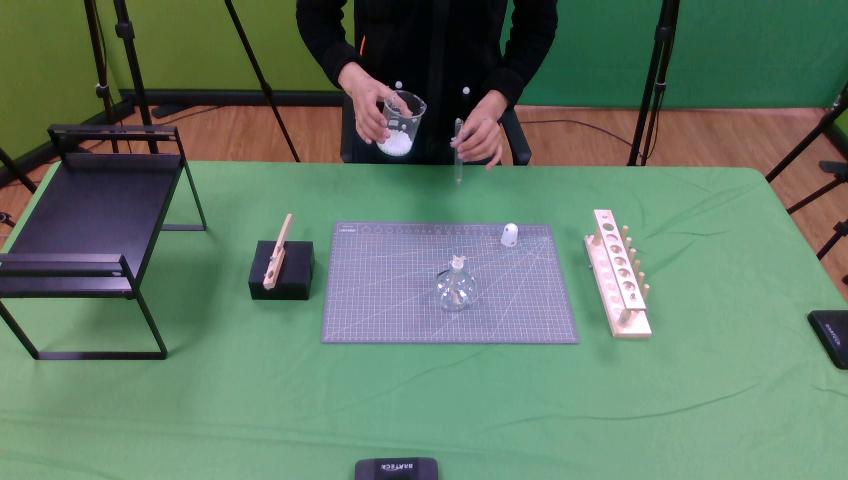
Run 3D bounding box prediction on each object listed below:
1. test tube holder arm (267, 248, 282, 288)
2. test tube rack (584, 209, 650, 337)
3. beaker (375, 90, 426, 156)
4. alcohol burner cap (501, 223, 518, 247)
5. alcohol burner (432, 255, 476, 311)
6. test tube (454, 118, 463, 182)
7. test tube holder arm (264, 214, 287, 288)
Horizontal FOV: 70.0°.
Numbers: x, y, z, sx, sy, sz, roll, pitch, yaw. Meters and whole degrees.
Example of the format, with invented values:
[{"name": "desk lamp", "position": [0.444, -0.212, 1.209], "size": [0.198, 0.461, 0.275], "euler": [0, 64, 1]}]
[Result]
[{"name": "test tube holder arm", "position": [-0.262, 0.048, 1.068], "size": [0.010, 0.015, 0.087], "euler": [3, 45, -2]}, {"name": "test tube rack", "position": [0.365, 0.056, 1.129], "size": [0.067, 0.085, 0.240], "euler": [1, 46, -4]}, {"name": "beaker", "position": [-0.045, -0.211, 1.106], "size": [0.084, 0.100, 0.073], "euler": [-10, 55, -27]}, {"name": "alcohol burner cap", "position": [0.172, -0.013, 1.206], "size": [0.034, 0.048, 0.033], "euler": [1, 45, -1]}, {"name": "alcohol burner", "position": [0.055, 0.070, 1.068], "size": [0.078, 0.119, 0.077], "euler": [3, 45, -3]}, {"name": "test tube", "position": [0.066, -0.172, 1.180], "size": [0.017, 0.151, 0.017], "euler": [-1, 48, 1]}, {"name": "test tube holder arm", "position": [-0.268, 0.016, 1.099], "size": [0.013, 0.015, 0.177], "euler": [2, 45, -4]}]
